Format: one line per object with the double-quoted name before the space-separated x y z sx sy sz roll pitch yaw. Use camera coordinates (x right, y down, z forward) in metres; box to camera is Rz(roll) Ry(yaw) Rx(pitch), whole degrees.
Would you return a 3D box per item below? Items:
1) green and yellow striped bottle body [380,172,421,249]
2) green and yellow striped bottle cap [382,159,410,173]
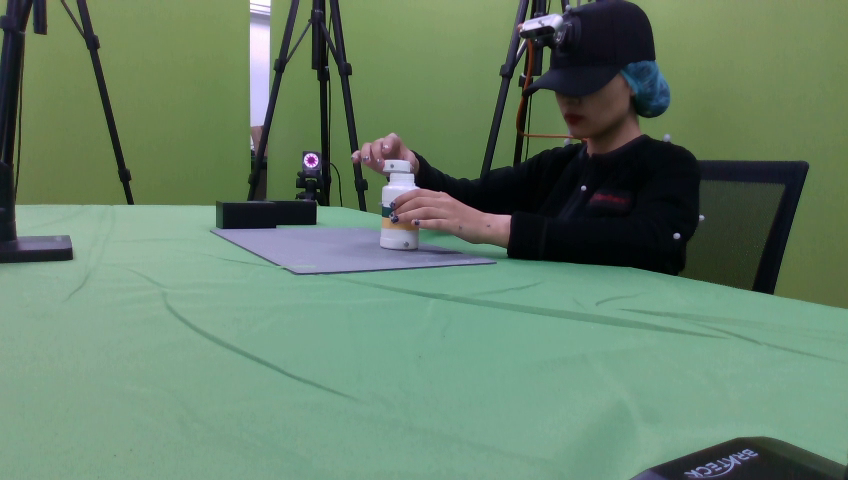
"green and yellow striped bottle body" -0.037 -0.048 0.959 0.063 0.119 0.063 3 7 0
"green and yellow striped bottle cap" -0.044 -0.116 0.957 0.045 0.020 0.045 2 -1 0
